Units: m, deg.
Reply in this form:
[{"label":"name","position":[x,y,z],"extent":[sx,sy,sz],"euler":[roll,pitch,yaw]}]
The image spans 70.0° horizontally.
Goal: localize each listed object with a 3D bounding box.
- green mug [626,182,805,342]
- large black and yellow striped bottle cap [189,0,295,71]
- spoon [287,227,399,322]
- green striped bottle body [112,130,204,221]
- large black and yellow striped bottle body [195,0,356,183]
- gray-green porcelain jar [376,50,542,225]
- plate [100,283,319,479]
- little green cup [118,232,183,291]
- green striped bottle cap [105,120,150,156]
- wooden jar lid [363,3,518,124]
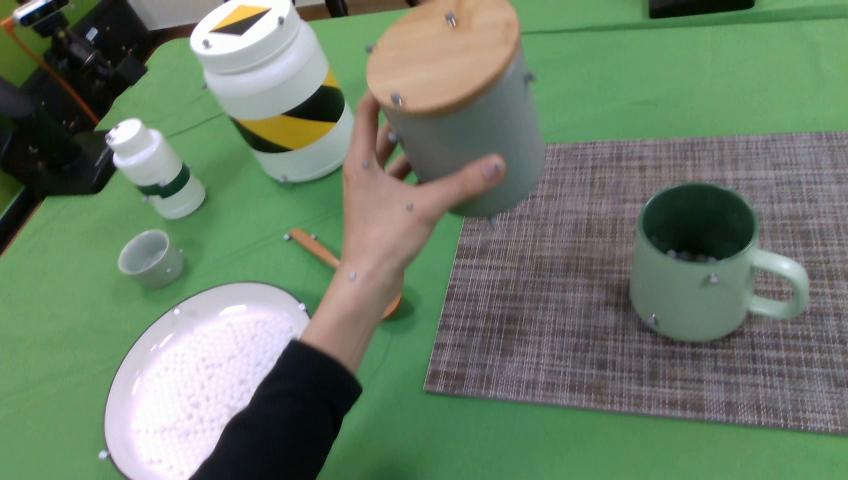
[{"label":"green mug","position":[0.217,0.023,0.458],"extent":[0.124,0.106,0.092],"euler":[20,60,31]},{"label":"large black and yellow striped bottle cap","position":[-0.191,-0.220,0.636],"extent":[0.115,0.019,0.114],"euler":[-9,49,11]},{"label":"spoon","position":[-0.089,0.027,0.620],"extent":[0.192,0.022,0.041],"euler":[34,84,36]},{"label":"green striped bottle body","position":[-0.322,-0.083,0.723],"extent":[0.063,0.120,0.062],"euler":[-10,50,12]},{"label":"large black and yellow striped bottle body","position":[-0.168,-0.171,0.699],"extent":[0.130,0.186,0.129],"euler":[-9,50,12]},{"label":"gray-green porcelain jar","position":[0.031,-0.081,0.456],"extent":[0.105,0.128,0.105],"euler":[-10,54,14]},{"label":"plate","position":[-0.191,0.134,0.558],"extent":[0.209,0.038,0.207],"euler":[-9,50,12]},{"label":"little green cup","position":[-0.307,0.026,0.685],"extent":[0.061,0.039,0.061],"euler":[-10,49,12]},{"label":"green striped bottle cap","position":[-0.335,-0.115,0.685],"extent":[0.044,0.020,0.044],"euler":[-7,52,10]},{"label":"wooden jar lid","position":[0.012,-0.116,0.407],"extent":[0.108,0.021,0.107],"euler":[-13,54,18]}]
